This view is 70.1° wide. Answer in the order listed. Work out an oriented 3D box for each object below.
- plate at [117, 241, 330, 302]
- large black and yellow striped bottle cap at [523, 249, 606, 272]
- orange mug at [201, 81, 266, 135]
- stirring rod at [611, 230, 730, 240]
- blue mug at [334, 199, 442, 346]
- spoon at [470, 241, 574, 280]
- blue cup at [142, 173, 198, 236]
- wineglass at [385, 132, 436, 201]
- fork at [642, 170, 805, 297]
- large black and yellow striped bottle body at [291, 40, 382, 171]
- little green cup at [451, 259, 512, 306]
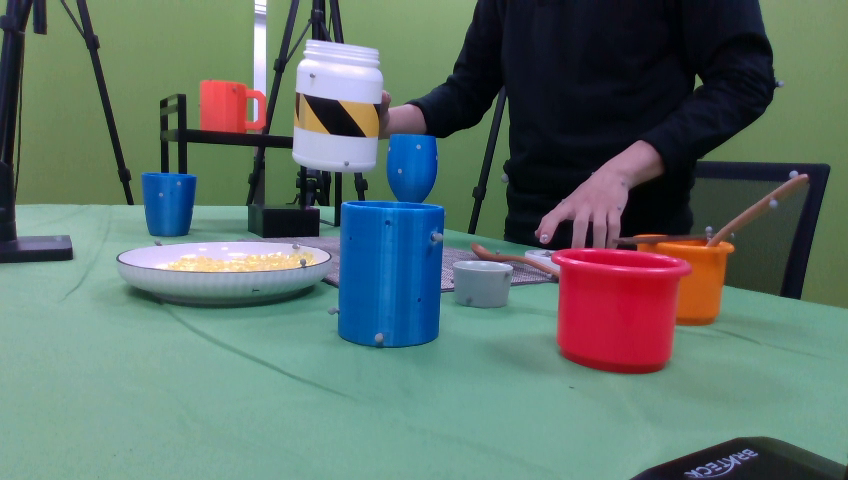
[{"bbox_3d":[-0.203,0.031,0.630,0.209,0.038,0.209,3,7,0],"label":"plate"},{"bbox_3d":[0.198,0.028,0.851,0.115,0.019,0.115,5,5,0],"label":"large black and yellow striped bottle cap"},{"bbox_3d":[-0.377,-0.260,1.198,0.126,0.101,0.083,-3,8,-6],"label":"orange mug"},{"bbox_3d":[0.241,-0.005,0.581,0.177,0.006,0.014,-2,9,-34],"label":"stirring rod"},{"bbox_3d":[-0.034,0.020,0.498,0.083,0.106,0.116,0,7,-20],"label":"blue mug"},{"bbox_3d":[0.124,0.025,0.800,0.042,0.021,0.192,22,-5,-34],"label":"spoon"},{"bbox_3d":[-0.425,-0.060,1.014,0.093,0.100,0.092,4,9,0],"label":"blue cup"},{"bbox_3d":[-0.020,-0.061,0.838,0.074,0.172,0.073,2,7,0],"label":"wineglass"},{"bbox_3d":[0.261,0.004,0.545,0.028,0.018,0.207,5,-37,-15],"label":"fork"},{"bbox_3d":[-0.134,-0.207,0.935,0.131,0.184,0.130,7,16,-2],"label":"large black and yellow striped bottle body"},{"bbox_3d":[0.057,0.043,0.612,0.061,0.038,0.061,3,7,0],"label":"little green cup"}]
